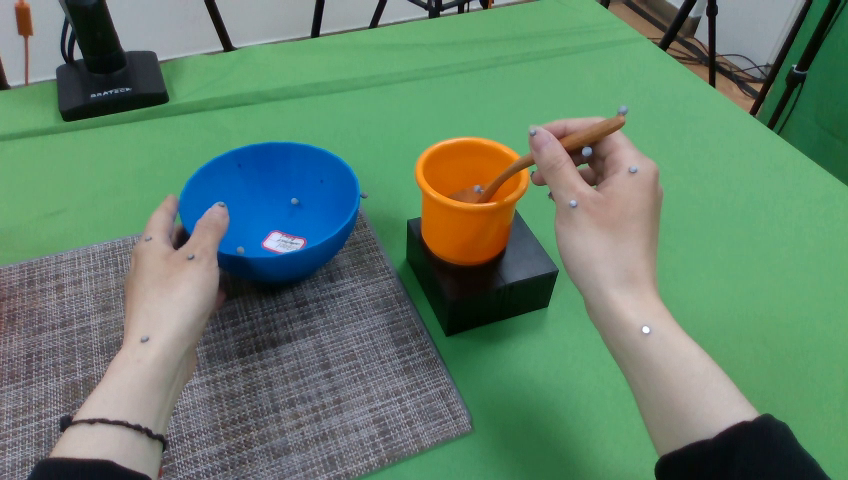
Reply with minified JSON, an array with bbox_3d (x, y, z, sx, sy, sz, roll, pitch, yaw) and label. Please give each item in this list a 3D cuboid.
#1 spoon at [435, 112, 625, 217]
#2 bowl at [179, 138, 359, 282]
[{"bbox_3d":[0.067,-0.053,0.446,0.022,0.193,0.041,38,60,-16],"label":"spoon"},{"bbox_3d":[-0.131,-0.015,0.542,0.151,0.077,0.150,2,46,-2],"label":"bowl"}]
